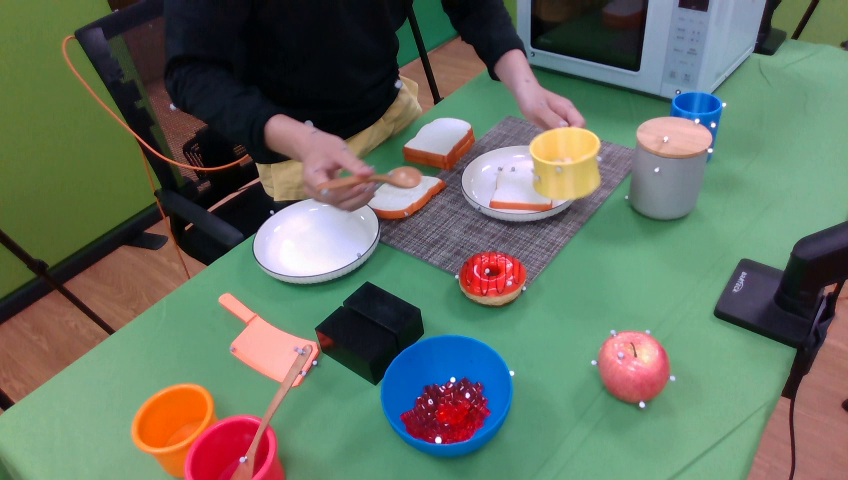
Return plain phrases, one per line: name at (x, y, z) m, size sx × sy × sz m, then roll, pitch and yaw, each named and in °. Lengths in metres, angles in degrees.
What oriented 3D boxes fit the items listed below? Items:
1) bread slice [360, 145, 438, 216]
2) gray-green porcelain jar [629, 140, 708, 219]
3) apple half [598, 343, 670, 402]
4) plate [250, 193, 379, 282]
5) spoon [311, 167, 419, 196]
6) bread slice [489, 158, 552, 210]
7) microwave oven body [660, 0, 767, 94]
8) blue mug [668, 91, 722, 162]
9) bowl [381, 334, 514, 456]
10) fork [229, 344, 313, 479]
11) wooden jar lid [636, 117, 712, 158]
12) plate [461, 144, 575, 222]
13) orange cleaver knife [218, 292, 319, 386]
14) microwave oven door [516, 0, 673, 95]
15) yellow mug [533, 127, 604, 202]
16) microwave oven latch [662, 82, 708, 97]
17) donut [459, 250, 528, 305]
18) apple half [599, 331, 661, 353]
bread slice at (-0.053, -0.103, 1.046) m, size 0.106 × 0.018 × 0.134 m, roll 19°, pitch 66°, yaw 22°
gray-green porcelain jar at (0.383, -0.104, 0.958) m, size 0.106 × 0.127 × 0.105 m, roll -4°, pitch 41°, yaw 4°
apple half at (0.247, 0.161, 0.710) m, size 0.081 × 0.075 × 0.053 m, roll 2°, pitch 47°, yaw 5°
plate at (-0.174, -0.001, 0.984) m, size 0.209 × 0.038 × 0.208 m, roll -3°, pitch 40°, yaw 3°
spoon at (-0.069, -0.072, 0.742) m, size 0.041 × 0.021 × 0.195 m, roll 41°, pitch 27°, yaw 21°
bread slice at (0.172, -0.100, 1.047) m, size 0.104 × 0.019 × 0.131 m, roll 4°, pitch 42°, yaw 12°
microwave oven body at (0.474, -0.517, 1.313) m, size 0.438 × 0.261 × 0.327 m, roll 26°, pitch 51°, yaw 34°
blue mug at (0.474, -0.207, 1.079) m, size 0.082 × 0.106 × 0.116 m, roll 4°, pitch 42°, yaw 13°
bowl at (0.029, 0.192, 0.701) m, size 0.151 × 0.077 × 0.150 m, roll -4°, pitch 40°, yaw 4°
fork at (-0.173, 0.205, 0.662) m, size 0.028 × 0.019 × 0.207 m, roll 29°, pitch 94°, yaw 36°
wooden jar lid at (0.377, -0.151, 0.917) m, size 0.108 × 0.021 × 0.108 m, roll -2°, pitch 41°, yaw 2°
plate at (0.167, -0.095, 1.040) m, size 0.207 × 0.039 × 0.206 m, roll -4°, pitch 40°, yaw 4°
orange cleaver knife at (-0.234, 0.136, 0.850) m, size 0.209 × 0.012 × 0.077 m, roll 25°, pitch 57°, yaw 30°
microwave oven door at (0.344, -0.458, 1.256) m, size 0.353 × 0.245 × 0.039 m, roll 26°, pitch 52°, yaw 33°
yellow mug at (0.214, -0.121, 0.899) m, size 0.099 × 0.064 × 0.130 m, roll -1°, pitch 39°, yaw 14°
microwave oven latch at (0.518, -0.298, 1.203) m, size 0.078 × 0.029 × 0.030 m, roll 28°, pitch 53°, yaw 35°
donut at (0.100, 0.053, 0.873) m, size 0.099 × 0.048 × 0.098 m, roll -4°, pitch 40°, yaw 4°
apple half at (0.249, 0.134, 0.738) m, size 0.081 × 0.081 × 0.032 m, roll -1°, pitch 46°, yaw 7°
